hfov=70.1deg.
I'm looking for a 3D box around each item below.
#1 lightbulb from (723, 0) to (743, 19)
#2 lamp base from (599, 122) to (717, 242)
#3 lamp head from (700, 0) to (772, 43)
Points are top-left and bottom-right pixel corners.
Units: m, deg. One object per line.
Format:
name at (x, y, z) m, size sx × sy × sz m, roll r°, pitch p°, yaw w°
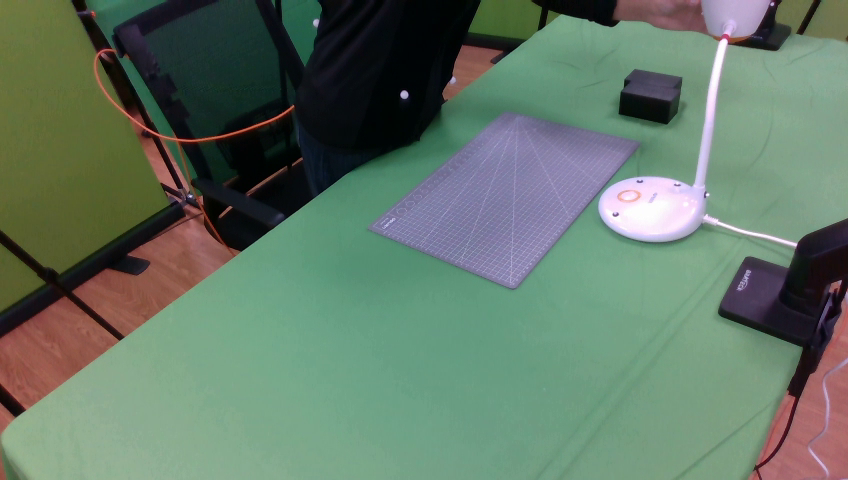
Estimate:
lightbulb at (0.466, -0.386, 0.907) m, size 0.059 × 0.108 × 0.059 m, roll -12°, pitch 36°, yaw 9°
lamp base at (0.367, -0.109, 0.919) m, size 0.178 × 0.181 × 0.160 m, roll 13°, pitch 45°, yaw 20°
lamp head at (0.472, -0.363, 0.915) m, size 0.112 × 0.123 × 0.112 m, roll -7°, pitch 34°, yaw 5°
